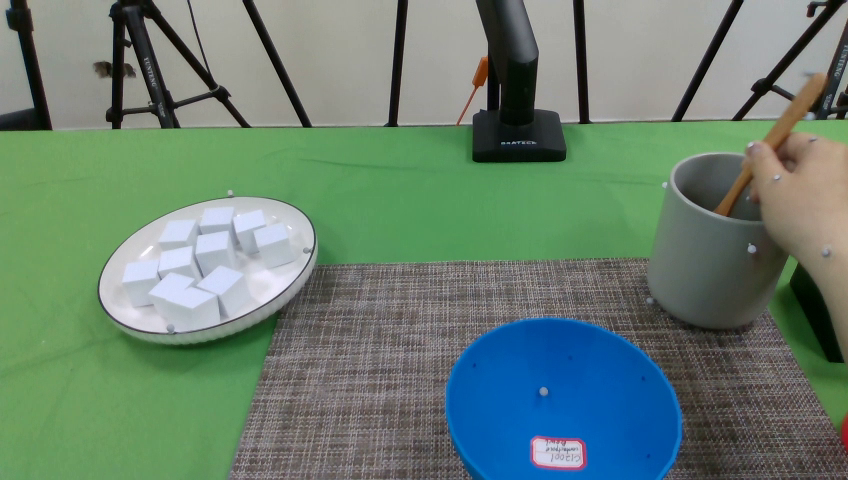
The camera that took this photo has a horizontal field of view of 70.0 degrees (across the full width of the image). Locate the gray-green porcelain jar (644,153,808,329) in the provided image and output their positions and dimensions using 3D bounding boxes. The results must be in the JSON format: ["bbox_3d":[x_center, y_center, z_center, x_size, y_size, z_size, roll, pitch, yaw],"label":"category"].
[{"bbox_3d":[0.252,0.005,0.525,0.106,0.127,0.105,-2,39,2],"label":"gray-green porcelain jar"}]

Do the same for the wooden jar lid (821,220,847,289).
[{"bbox_3d":[0.392,0.021,0.507,0.108,0.021,0.107,-2,39,2],"label":"wooden jar lid"}]

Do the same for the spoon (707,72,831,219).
[{"bbox_3d":[0.251,-0.043,0.479,0.022,0.195,0.041,3,39,-28],"label":"spoon"}]

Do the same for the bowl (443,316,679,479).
[{"bbox_3d":[0.088,0.133,0.416,0.151,0.077,0.150,-2,39,2],"label":"bowl"}]

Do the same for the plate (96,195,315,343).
[{"bbox_3d":[-0.210,0.027,0.604,0.209,0.038,0.207,-3,39,2],"label":"plate"}]
